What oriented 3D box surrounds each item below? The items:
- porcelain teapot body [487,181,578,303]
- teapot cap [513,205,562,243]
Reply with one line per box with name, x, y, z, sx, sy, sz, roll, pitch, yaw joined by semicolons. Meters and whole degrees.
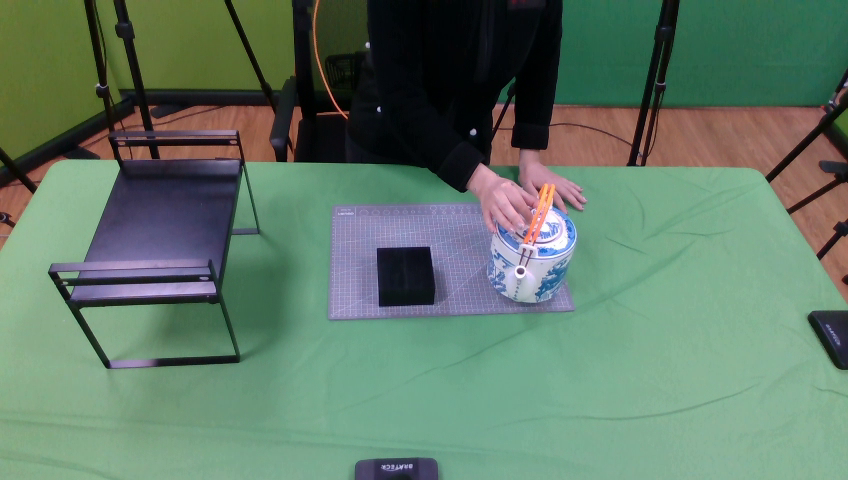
porcelain teapot body;0.185;0.018;1.048;0.145;0.226;0.204;15;48;10
teapot cap;0.195;-0.032;1.036;0.085;0.044;0.084;5;48;-6
